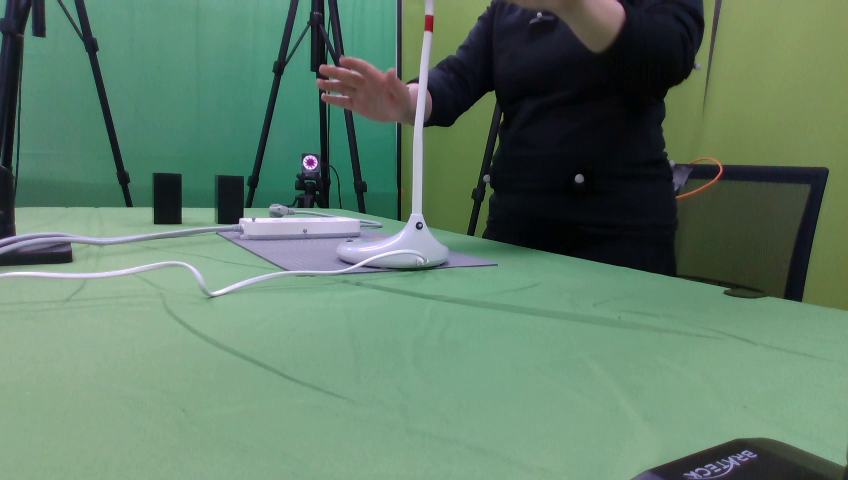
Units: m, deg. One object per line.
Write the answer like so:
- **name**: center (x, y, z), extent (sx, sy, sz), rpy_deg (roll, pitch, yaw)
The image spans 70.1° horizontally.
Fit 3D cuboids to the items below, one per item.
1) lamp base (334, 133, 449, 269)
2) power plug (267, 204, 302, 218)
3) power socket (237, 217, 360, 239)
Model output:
- **lamp base**: center (-0.034, -0.057, 0.831), extent (0.161, 0.180, 0.178), rpy_deg (-3, 12, -36)
- **power plug**: center (-0.327, -0.060, 1.404), extent (0.073, 0.035, 0.052), rpy_deg (22, -14, -27)
- **power socket**: center (-0.220, -0.023, 1.080), extent (0.228, 0.032, 0.072), rpy_deg (-2, 8, -33)
